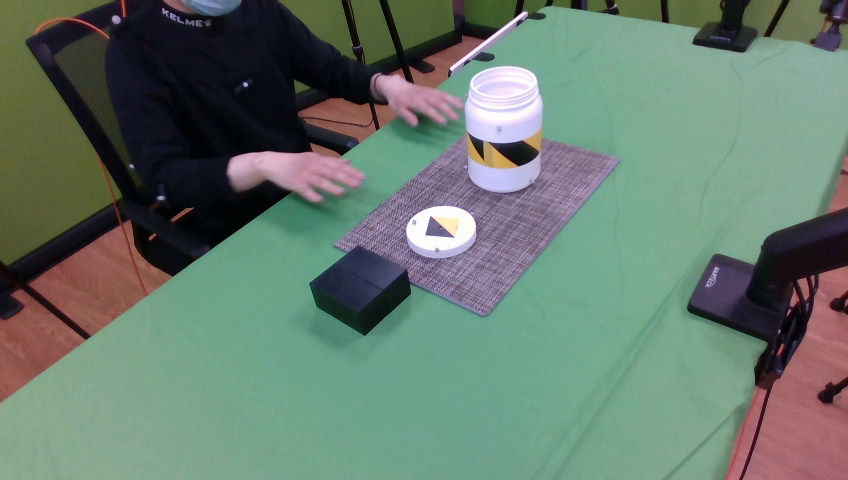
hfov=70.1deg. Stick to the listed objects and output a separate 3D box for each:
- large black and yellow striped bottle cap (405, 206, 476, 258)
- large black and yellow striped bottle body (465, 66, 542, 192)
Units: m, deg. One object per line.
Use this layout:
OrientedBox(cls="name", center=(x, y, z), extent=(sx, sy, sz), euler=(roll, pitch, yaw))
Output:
OrientedBox(cls="large black and yellow striped bottle cap", center=(0.027, -0.015, 0.981), extent=(0.115, 0.019, 0.114), euler=(-3, 41, 3))
OrientedBox(cls="large black and yellow striped bottle body", center=(0.137, -0.190, 1.040), extent=(0.131, 0.185, 0.130), euler=(-4, 41, 4))
